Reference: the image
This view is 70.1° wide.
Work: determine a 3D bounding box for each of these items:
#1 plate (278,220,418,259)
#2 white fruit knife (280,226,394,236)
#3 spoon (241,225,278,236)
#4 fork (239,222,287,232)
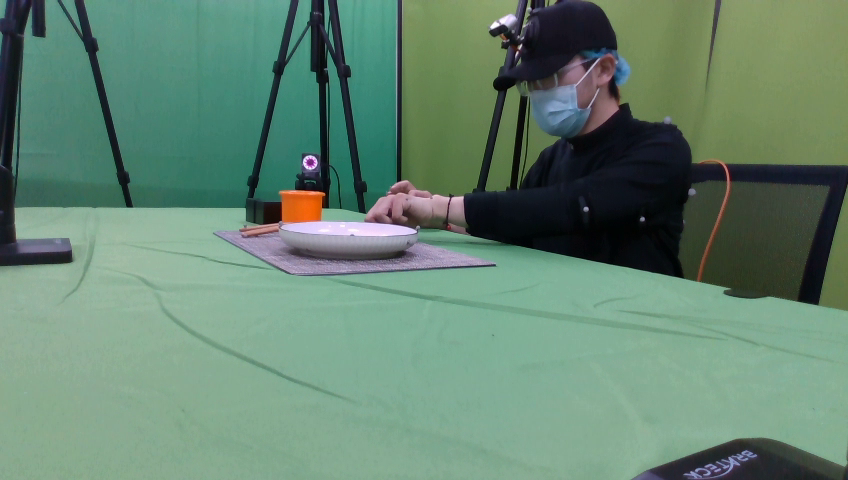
[{"bbox_3d":[-0.114,-0.002,0.914,0.209,0.038,0.209,2,7,0],"label":"plate"},{"bbox_3d":[-0.153,-0.015,1.081,0.208,0.016,0.027,-3,-2,-26],"label":"white fruit knife"},{"bbox_3d":[-0.232,-0.021,1.082,0.195,0.021,0.041,-3,27,-37],"label":"spoon"},{"bbox_3d":[-0.241,-0.025,1.125,0.208,0.018,0.028,-1,14,-35],"label":"fork"}]
